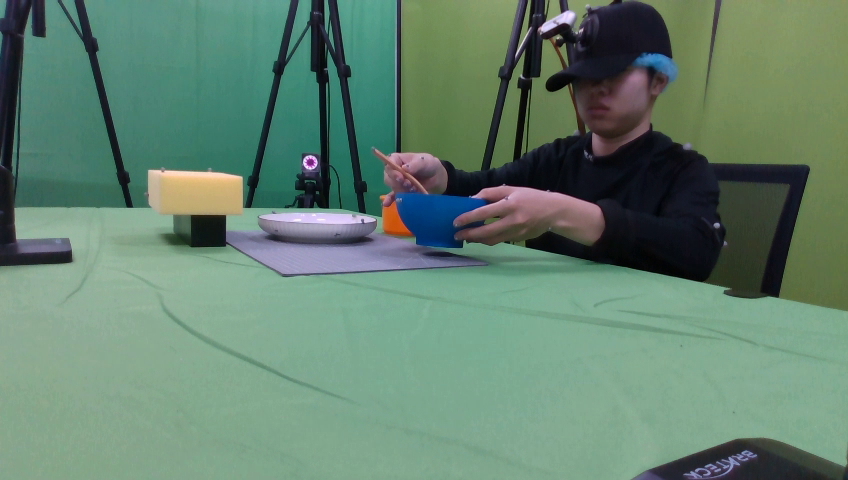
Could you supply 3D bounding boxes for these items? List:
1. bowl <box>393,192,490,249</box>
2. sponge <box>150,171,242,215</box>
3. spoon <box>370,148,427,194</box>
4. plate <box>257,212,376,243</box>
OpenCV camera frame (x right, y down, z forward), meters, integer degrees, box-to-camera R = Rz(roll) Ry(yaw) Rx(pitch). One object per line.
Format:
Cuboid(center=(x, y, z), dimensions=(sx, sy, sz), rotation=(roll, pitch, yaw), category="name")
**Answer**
Cuboid(center=(0.024, -0.028, 0.933), dimensions=(0.151, 0.077, 0.151), rotation=(5, 2, 0), category="bowl")
Cuboid(center=(-0.379, -0.079, 0.994), dimensions=(0.119, 0.061, 0.206), rotation=(-1, 8, -29), category="sponge")
Cuboid(center=(-0.012, -0.081, 0.952), dimensions=(0.193, 0.021, 0.042), rotation=(45, 11, 5), category="spoon")
Cuboid(center=(-0.189, -0.023, 1.072), dimensions=(0.209, 0.038, 0.209), rotation=(3, 7, 0), category="plate")
